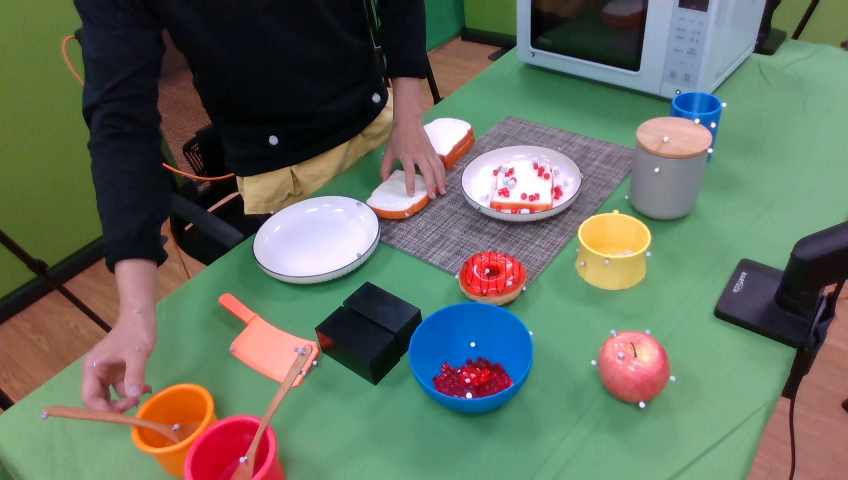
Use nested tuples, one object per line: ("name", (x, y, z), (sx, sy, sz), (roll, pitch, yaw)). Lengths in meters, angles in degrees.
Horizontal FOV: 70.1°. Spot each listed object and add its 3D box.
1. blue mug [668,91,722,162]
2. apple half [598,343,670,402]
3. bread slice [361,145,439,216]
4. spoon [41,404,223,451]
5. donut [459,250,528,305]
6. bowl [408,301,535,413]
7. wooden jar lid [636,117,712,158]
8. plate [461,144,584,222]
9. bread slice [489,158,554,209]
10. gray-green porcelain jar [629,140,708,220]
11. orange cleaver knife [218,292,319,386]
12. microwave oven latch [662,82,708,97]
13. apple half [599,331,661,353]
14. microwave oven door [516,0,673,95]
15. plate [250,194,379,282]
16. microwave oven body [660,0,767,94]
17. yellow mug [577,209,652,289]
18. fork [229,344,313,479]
("blue mug", (0.474, -0.207, 1.079), (0.082, 0.106, 0.116), (4, 42, 13))
("apple half", (0.247, 0.161, 0.710), (0.081, 0.075, 0.053), (2, 47, 5))
("bread slice", (-0.052, -0.103, 1.045), (0.106, 0.018, 0.134), (19, 67, 22))
("spoon", (-0.321, 0.206, 0.681), (0.021, 0.195, 0.041), (-47, 36, 23))
("donut", (0.100, 0.053, 0.872), (0.099, 0.048, 0.098), (-5, 41, 4))
("bowl", (0.060, 0.156, 0.739), (0.151, 0.077, 0.150), (-4, 40, 4))
("wooden jar lid", (0.377, -0.151, 0.917), (0.108, 0.021, 0.108), (-2, 41, 3))
("plate", (0.168, -0.095, 1.040), (0.207, 0.039, 0.206), (-4, 40, 4))
("bread slice", (0.172, -0.100, 1.046), (0.104, 0.019, 0.131), (3, 41, 12))
("gray-green porcelain jar", (0.383, -0.104, 0.958), (0.106, 0.127, 0.105), (-4, 41, 4))
("orange cleaver knife", (-0.234, 0.136, 0.850), (0.209, 0.012, 0.077), (25, 57, 30))
("microwave oven latch", (0.517, -0.298, 1.203), (0.078, 0.029, 0.030), (28, 53, 35))
("apple half", (0.249, 0.134, 0.738), (0.081, 0.081, 0.032), (-1, 46, 7))
("microwave oven door", (0.344, -0.458, 1.256), (0.353, 0.245, 0.039), (26, 51, 33))
("plate", (-0.174, -0.001, 0.984), (0.209, 0.038, 0.208), (-3, 40, 3))
("microwave oven body", (0.473, -0.517, 1.313), (0.438, 0.261, 0.327), (26, 51, 34))
("yellow mug", (0.279, 0.004, 0.893), (0.099, 0.064, 0.130), (5, 41, 14))
("fork", (-0.173, 0.205, 0.662), (0.028, 0.019, 0.207), (29, 94, 36))
